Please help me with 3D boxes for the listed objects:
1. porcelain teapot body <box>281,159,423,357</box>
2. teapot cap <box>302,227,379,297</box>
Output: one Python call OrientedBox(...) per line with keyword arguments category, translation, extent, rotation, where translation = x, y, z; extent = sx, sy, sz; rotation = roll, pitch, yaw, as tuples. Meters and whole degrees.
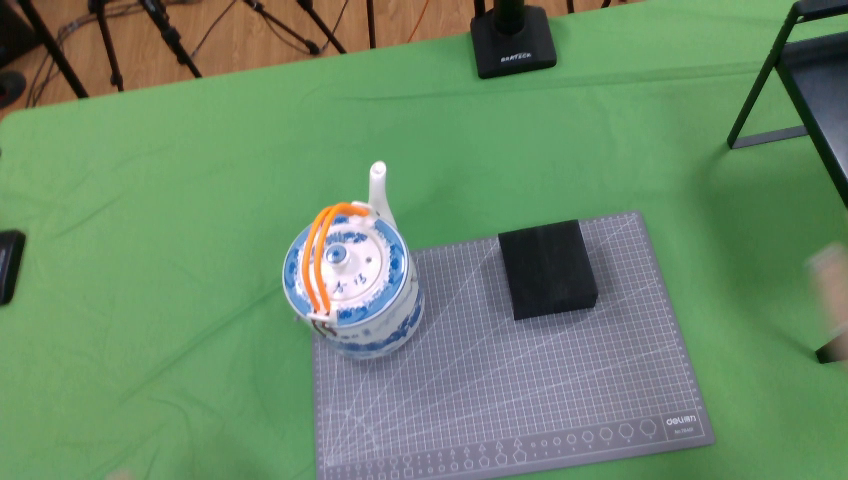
OrientedBox(category="porcelain teapot body", translation=(-0.077, 0.012, 0.697), extent=(0.145, 0.227, 0.204), rotation=(10, 66, 13))
OrientedBox(category="teapot cap", translation=(-0.091, 0.021, 0.652), extent=(0.085, 0.044, 0.084), rotation=(-4, 62, 8))
